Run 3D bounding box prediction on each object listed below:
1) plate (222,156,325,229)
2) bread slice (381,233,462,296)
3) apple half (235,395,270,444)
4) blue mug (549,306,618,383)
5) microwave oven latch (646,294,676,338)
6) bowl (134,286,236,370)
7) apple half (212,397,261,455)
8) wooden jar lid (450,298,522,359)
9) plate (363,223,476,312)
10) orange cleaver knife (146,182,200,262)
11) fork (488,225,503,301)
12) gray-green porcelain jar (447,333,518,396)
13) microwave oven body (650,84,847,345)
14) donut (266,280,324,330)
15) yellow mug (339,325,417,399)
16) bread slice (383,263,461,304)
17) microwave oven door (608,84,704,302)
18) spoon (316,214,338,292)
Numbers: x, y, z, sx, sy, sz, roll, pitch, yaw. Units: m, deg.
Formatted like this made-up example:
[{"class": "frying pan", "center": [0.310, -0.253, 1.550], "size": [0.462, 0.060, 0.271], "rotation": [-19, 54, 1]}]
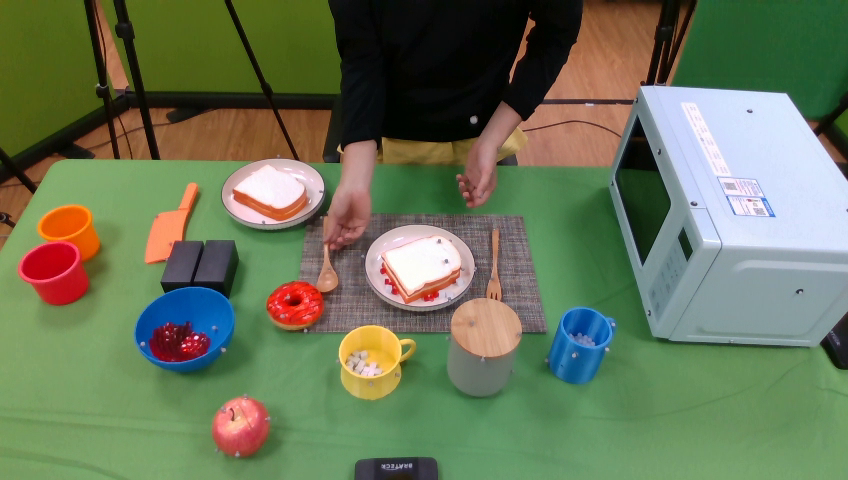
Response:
[{"class": "plate", "center": [-0.308, -0.094, 1.251], "size": [0.209, 0.038, 0.208], "rotation": [2, 46, -2]}, {"class": "bread slice", "center": [0.001, 0.038, 1.107], "size": [0.134, 0.018, 0.106], "rotation": [-25, 56, -22]}, {"class": "apple half", "center": [-0.245, 0.260, 0.893], "size": [0.033, 0.082, 0.081], "rotation": [-29, 55, -22]}, {"class": "blue mug", "center": [0.269, 0.167, 0.997], "size": [0.116, 0.106, 0.082], "rotation": [-19, 50, -21]}, {"class": "microwave oven latch", "center": [0.412, 0.133, 1.060], "size": [0.030, 0.029, 0.078], "rotation": [4, 46, 1]}, {"class": "bowl", "center": [-0.377, 0.156, 0.981], "size": [0.151, 0.077, 0.150], "rotation": [2, 46, -2]}, {"class": "apple half", "center": [-0.276, 0.276, 0.877], "size": [0.053, 0.075, 0.080], "rotation": [-29, 58, -21]}, {"class": "wooden jar lid", "center": [0.093, 0.135, 0.914], "size": [0.108, 0.021, 0.107], "rotation": [2, 48, -3]}, {"class": "plate", "center": [-0.009, 0.054, 1.126], "size": [0.208, 0.039, 0.206], "rotation": [2, 47, -2]}, {"class": "orange cleaver knife", "center": [-0.494, -0.039, 1.198], "size": [0.077, 0.012, 0.210], "rotation": [-4, 48, 2]}, {"class": "fork", "center": [0.138, 0.042, 1.160], "size": [0.028, 0.019, 0.206], "rotation": [1, 48, 7]}, {"class": "gray-green porcelain jar", "center": [0.091, 0.178, 0.960], "size": [0.106, 0.127, 0.105], "rotation": [2, 46, -2]}, {"class": "microwave oven body", "center": [0.569, -0.054, 1.116], "size": [0.326, 0.261, 0.439], "rotation": [2, 46, -1]}, {"class": "donut", "center": [-0.223, 0.112, 1.051], "size": [0.099, 0.048, 0.098], "rotation": [2, 46, -2]}, {"class": "yellow mug", "center": [-0.072, 0.190, 0.978], "size": [0.131, 0.064, 0.099], "rotation": [-17, 50, -20]}, {"class": "bread slice", "center": [0.001, 0.057, 1.131], "size": [0.131, 0.019, 0.104], "rotation": [-24, 51, -19]}, {"class": "microwave oven door", "center": [0.424, -0.096, 1.138], "size": [0.039, 0.245, 0.353], "rotation": [3, 46, -1]}, {"class": "spoon", "center": [-0.184, 0.021, 1.146], "size": [0.041, 0.022, 0.192], "rotation": [-15, 54, 10]}]
